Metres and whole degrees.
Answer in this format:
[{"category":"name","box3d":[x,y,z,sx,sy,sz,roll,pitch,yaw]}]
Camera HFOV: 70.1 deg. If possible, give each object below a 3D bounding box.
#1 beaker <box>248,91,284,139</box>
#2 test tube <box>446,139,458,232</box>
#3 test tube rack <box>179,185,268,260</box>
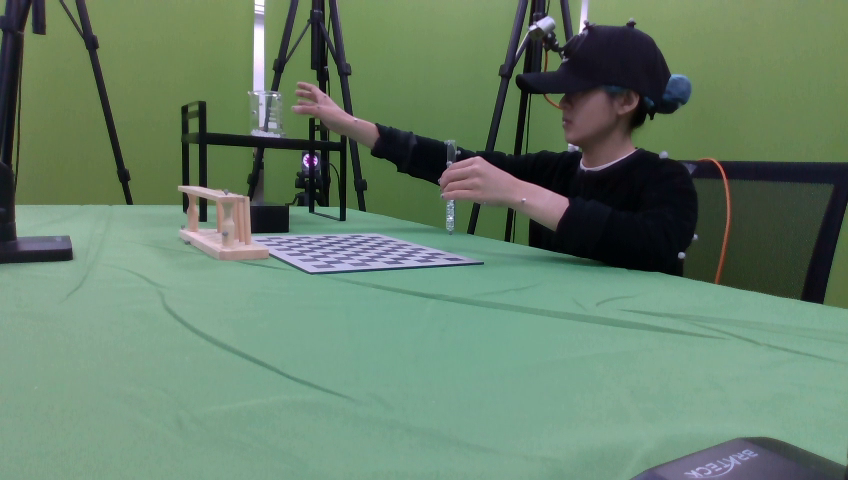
[{"category":"beaker","box3d":[-0.352,-0.277,1.343,0.073,0.100,0.084,8,10,39]},{"category":"test tube","box3d":[0.045,-0.088,0.981,0.017,0.150,0.017,1,11,0]},{"category":"test tube rack","box3d":[-0.303,-0.031,0.898,0.067,0.085,0.241,-2,9,-33]}]
